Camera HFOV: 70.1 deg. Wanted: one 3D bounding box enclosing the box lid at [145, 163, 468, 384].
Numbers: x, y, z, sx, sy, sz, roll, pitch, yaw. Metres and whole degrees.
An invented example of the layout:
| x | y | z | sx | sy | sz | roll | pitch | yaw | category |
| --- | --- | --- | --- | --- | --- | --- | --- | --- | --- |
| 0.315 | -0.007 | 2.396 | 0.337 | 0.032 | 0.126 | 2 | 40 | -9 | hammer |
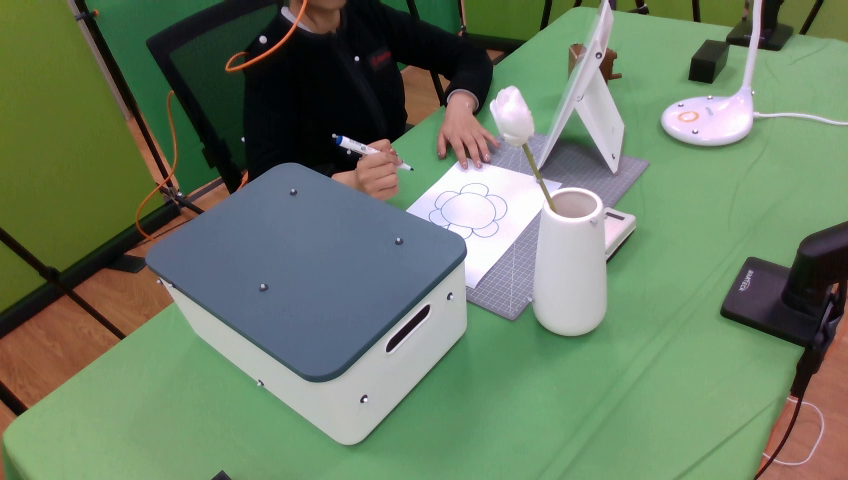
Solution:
| x | y | z | sx | sy | sz | roll | pitch | yaw | category |
| --- | --- | --- | --- | --- | --- | --- | --- | --- | --- |
| -0.157 | 0.014 | 0.769 | 0.368 | 0.015 | 0.264 | 25 | 51 | 33 | box lid |

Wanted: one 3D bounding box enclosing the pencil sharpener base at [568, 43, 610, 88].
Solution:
| x | y | z | sx | sy | sz | roll | pitch | yaw | category |
| --- | --- | --- | --- | --- | --- | --- | --- | --- | --- |
| 0.345 | -0.352 | 1.263 | 0.077 | 0.107 | 0.061 | -8 | 40 | 1 | pencil sharpener base |

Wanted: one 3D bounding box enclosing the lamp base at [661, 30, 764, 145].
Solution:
| x | y | z | sx | sy | sz | roll | pitch | yaw | category |
| --- | --- | --- | --- | --- | --- | --- | --- | --- | --- |
| 0.535 | -0.287 | 1.096 | 0.179 | 0.181 | 0.159 | -10 | 40 | -4 | lamp base |

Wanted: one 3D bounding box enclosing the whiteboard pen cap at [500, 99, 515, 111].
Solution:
| x | y | z | sx | sy | sz | roll | pitch | yaw | category |
| --- | --- | --- | --- | --- | --- | --- | --- | --- | --- |
| 0.177 | -0.287 | 1.290 | 0.033 | 0.018 | 0.018 | -37 | 48 | -26 | whiteboard pen cap |

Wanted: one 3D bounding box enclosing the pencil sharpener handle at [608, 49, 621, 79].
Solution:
| x | y | z | sx | sy | sz | roll | pitch | yaw | category |
| --- | --- | --- | --- | --- | --- | --- | --- | --- | --- |
| 0.394 | -0.368 | 1.253 | 0.030 | 0.068 | 0.036 | -8 | 32 | 1 | pencil sharpener handle |

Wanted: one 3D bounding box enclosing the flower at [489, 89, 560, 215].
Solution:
| x | y | z | sx | sy | sz | roll | pitch | yaw | category |
| --- | --- | --- | --- | --- | --- | --- | --- | --- | --- |
| 0.159 | -0.028 | 0.720 | 0.038 | 0.364 | 0.044 | -15 | 44 | 23 | flower |

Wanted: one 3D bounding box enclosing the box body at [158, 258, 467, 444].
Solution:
| x | y | z | sx | sy | sz | roll | pitch | yaw | category |
| --- | --- | --- | --- | --- | --- | --- | --- | --- | --- |
| -0.147 | 0.072 | 0.816 | 0.361 | 0.161 | 0.255 | 24 | 50 | 33 | box body |

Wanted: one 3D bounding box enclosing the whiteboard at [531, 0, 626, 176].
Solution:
| x | y | z | sx | sy | sz | roll | pitch | yaw | category |
| --- | --- | --- | --- | --- | --- | --- | --- | --- | --- |
| 0.320 | -0.259 | 1.050 | 0.144 | 0.306 | 0.217 | 22 | 45 | 6 | whiteboard |

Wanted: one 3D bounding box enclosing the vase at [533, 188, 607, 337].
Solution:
| x | y | z | sx | sy | sz | roll | pitch | yaw | category |
| --- | --- | --- | --- | --- | --- | --- | --- | --- | --- |
| 0.187 | 0.033 | 0.771 | 0.098 | 0.201 | 0.097 | -6 | 41 | 6 | vase |

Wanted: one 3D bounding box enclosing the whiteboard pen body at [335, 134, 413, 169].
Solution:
| x | y | z | sx | sy | sz | roll | pitch | yaw | category |
| --- | --- | --- | --- | --- | --- | --- | --- | --- | --- |
| -0.077 | -0.138 | 0.966 | 0.142 | 0.017 | 0.017 | 18 | 30 | -29 | whiteboard pen body |

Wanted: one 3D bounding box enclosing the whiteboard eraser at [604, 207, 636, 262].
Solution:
| x | y | z | sx | sy | sz | roll | pitch | yaw | category |
| --- | --- | --- | --- | --- | --- | --- | --- | --- | --- |
| 0.272 | -0.003 | 0.919 | 0.055 | 0.042 | 0.113 | 27 | 51 | 32 | whiteboard eraser |
